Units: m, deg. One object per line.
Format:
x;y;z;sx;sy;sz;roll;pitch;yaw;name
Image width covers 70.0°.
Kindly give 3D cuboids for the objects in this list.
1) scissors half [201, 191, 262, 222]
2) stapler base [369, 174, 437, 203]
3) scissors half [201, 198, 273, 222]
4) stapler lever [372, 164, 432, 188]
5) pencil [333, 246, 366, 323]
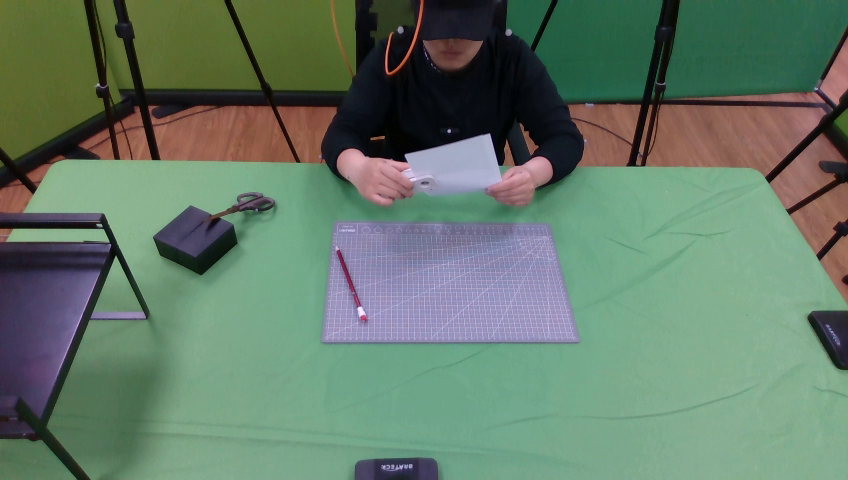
-0.381;-0.066;1.198;0.040;0.013;0.175;24;28;10;scissors half
-0.040;-0.104;1.151;0.130;0.041;0.024;-15;58;19;stapler base
-0.365;-0.056;1.192;0.040;0.013;0.175;38;32;22;scissors half
-0.041;-0.118;1.157;0.118;0.027;0.040;-6;62;24;stapler lever
-0.140;0.077;1.116;0.012;0.012;0.192;-14;48;-17;pencil
